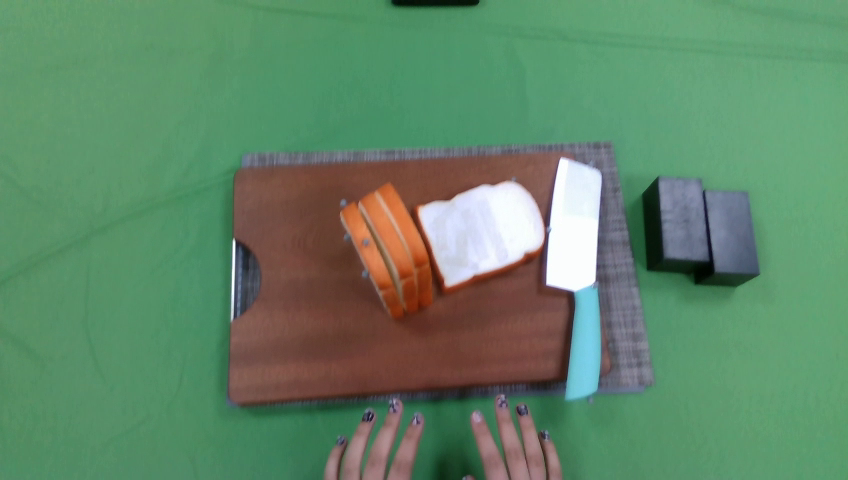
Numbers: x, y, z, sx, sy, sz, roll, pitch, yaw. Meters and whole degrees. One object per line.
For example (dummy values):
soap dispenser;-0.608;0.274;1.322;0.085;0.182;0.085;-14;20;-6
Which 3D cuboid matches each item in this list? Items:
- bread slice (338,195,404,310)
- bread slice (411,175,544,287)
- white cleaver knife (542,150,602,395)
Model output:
bread slice;-0.054;0.012;0.604;0.019;0.132;0.104;-27;73;-5
bread slice;0.064;-0.016;0.671;0.134;0.018;0.106;-15;76;-4
white cleaver knife;0.162;0.028;0.669;0.066;0.021;0.284;10;67;-4
